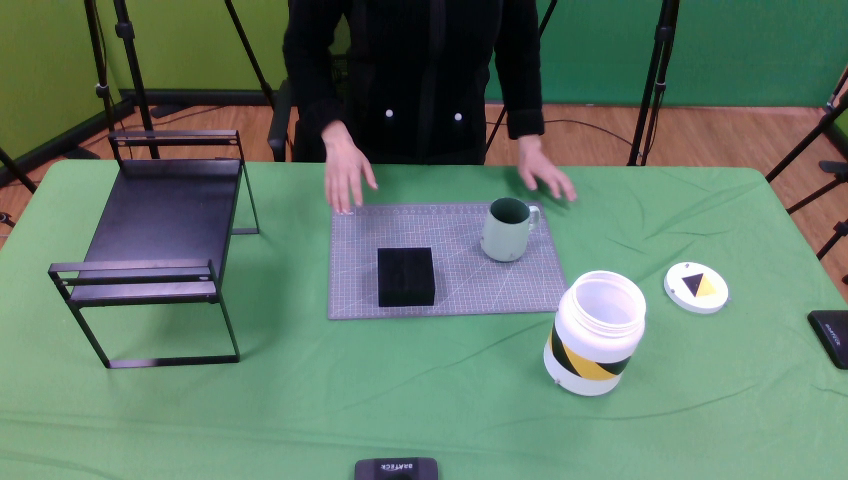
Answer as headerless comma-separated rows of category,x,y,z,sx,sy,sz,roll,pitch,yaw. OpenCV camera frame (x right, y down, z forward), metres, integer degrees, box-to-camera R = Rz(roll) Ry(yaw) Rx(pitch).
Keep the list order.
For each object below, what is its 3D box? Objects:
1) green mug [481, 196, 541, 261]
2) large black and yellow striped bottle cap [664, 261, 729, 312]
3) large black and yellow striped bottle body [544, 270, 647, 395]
green mug,0.174,-0.027,1.173,0.125,0.105,0.092,-22,51,-23
large black and yellow striped bottle cap,0.518,0.087,1.153,0.115,0.019,0.114,2,47,-2
large black and yellow striped bottle body,0.271,0.147,0.963,0.131,0.185,0.130,2,47,-2
